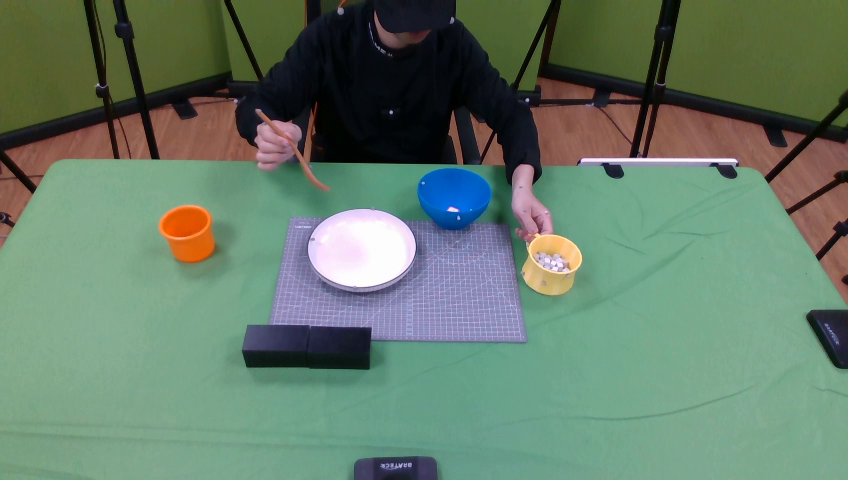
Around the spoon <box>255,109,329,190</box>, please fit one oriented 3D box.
[{"bbox_3d":[-0.231,-0.157,1.073,0.021,0.195,0.041,-38,32,-6],"label":"spoon"}]

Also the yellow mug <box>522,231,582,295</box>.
[{"bbox_3d":[0.233,0.035,1.149,0.100,0.064,0.130,-18,51,-22],"label":"yellow mug"}]

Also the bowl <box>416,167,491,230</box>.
[{"bbox_3d":[0.057,-0.074,1.231,0.151,0.077,0.150,3,42,-2],"label":"bowl"}]

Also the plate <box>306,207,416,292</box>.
[{"bbox_3d":[-0.119,0.021,1.153,0.209,0.038,0.208,2,46,-2],"label":"plate"}]
